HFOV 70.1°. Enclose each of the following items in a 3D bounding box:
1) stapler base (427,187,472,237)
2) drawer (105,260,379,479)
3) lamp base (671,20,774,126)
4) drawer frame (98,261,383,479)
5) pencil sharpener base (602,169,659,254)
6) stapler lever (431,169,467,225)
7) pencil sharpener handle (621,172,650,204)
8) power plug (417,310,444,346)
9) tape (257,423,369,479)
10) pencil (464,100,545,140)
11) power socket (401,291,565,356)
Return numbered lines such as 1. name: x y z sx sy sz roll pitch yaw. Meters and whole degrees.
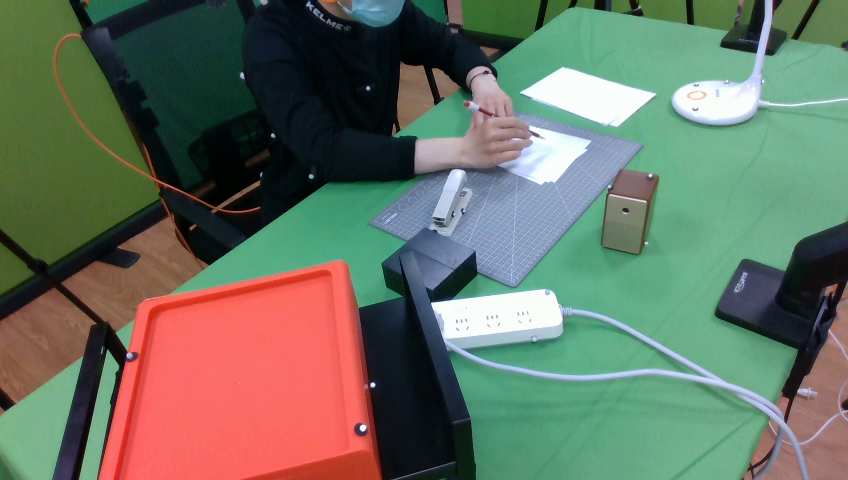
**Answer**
1. stapler base: 0.046 -0.057 1.028 0.041 0.024 0.130 10 44 20
2. drawer: -0.150 0.127 0.525 0.195 0.073 0.210 -11 41 -5
3. lamp base: 0.581 -0.332 1.154 0.179 0.181 0.160 2 41 7
4. drawer frame: -0.148 0.129 0.520 0.202 0.083 0.212 -12 41 -6
5. pencil sharpener base: 0.312 -0.044 0.914 0.061 0.107 0.077 14 45 24
6. stapler lever: 0.043 -0.074 1.010 0.026 0.040 0.118 9 44 20
7. pencil sharpener handle: 0.328 -0.086 0.941 0.036 0.068 0.030 30 49 7
8. power plug: 0.006 0.122 0.785 0.035 0.053 0.072 -1 40 9
9. tape: -0.121 0.262 0.660 0.117 0.053 0.116 -4 40 4
10. pencil: 0.149 -0.213 1.086 0.196 0.012 0.012 17 29 -32
11. power socket: 0.081 0.112 0.822 0.227 0.033 0.072 -6 41 0
